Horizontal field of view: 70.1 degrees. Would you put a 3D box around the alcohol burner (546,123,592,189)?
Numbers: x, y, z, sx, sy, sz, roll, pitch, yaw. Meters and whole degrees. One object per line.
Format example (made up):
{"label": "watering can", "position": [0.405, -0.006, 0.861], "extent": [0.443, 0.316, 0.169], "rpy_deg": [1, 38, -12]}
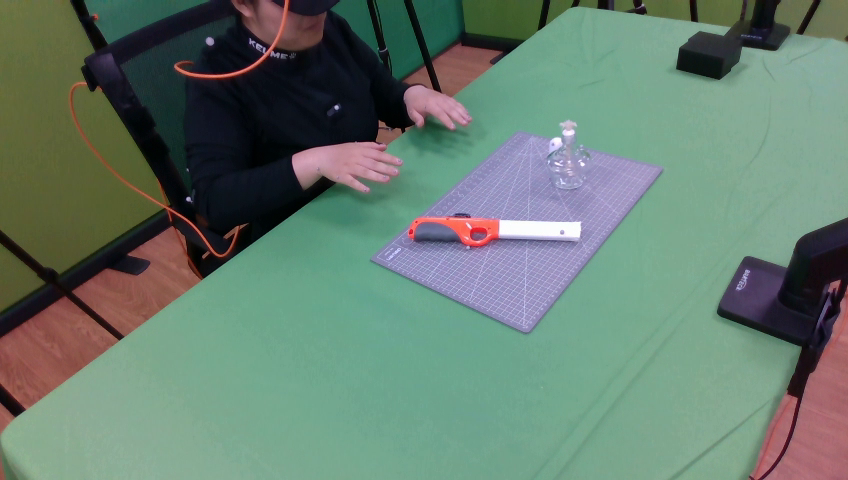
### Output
{"label": "alcohol burner", "position": [0.248, -0.147, 1.034], "extent": [0.078, 0.120, 0.077], "rpy_deg": [-7, 41, 6]}

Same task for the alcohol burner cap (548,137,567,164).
{"label": "alcohol burner cap", "position": [0.246, -0.166, 1.113], "extent": [0.034, 0.048, 0.033], "rpy_deg": [-6, 40, 5]}

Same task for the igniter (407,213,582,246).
{"label": "igniter", "position": [0.110, -0.016, 0.969], "extent": [0.276, 0.025, 0.057], "rpy_deg": [1, 63, 9]}
